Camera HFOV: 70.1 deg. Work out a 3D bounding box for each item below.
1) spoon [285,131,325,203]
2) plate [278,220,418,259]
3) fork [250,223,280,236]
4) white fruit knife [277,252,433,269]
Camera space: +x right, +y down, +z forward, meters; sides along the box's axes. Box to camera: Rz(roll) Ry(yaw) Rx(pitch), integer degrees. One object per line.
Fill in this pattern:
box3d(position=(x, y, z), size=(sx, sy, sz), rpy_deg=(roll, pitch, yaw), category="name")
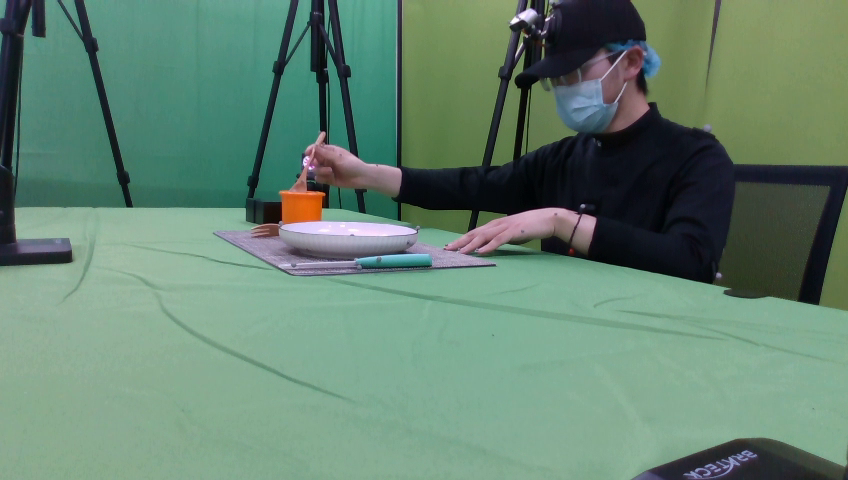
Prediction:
box3d(position=(-0.242, -0.154, 1.259), size=(0.041, 0.193, 0.022), rpy_deg=(4, -28, 23), category="spoon")
box3d(position=(-0.114, -0.002, 0.914), size=(0.209, 0.038, 0.209), rpy_deg=(2, 7, 0), category="plate")
box3d(position=(-0.194, -0.014, 1.051), size=(0.208, 0.028, 0.018), rpy_deg=(3, 38, -14), category="fork")
box3d(position=(-0.082, 0.029, 0.772), size=(0.208, 0.016, 0.027), rpy_deg=(-3, -20, -22), category="white fruit knife")
